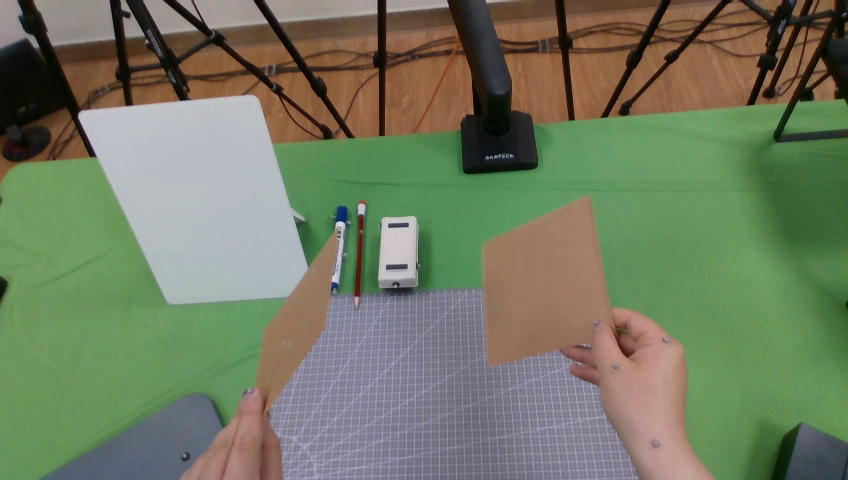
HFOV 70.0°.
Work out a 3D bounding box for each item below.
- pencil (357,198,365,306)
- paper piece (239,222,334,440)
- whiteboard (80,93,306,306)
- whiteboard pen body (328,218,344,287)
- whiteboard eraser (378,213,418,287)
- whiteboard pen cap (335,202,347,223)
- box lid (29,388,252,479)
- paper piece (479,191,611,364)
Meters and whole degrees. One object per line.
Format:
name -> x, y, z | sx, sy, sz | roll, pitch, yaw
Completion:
pencil -> -0.095, 0.014, 0.898 | 0.012, 0.012, 0.192 | -6, 55, 3
paper piece -> -0.108, 0.066, 0.481 | 0.004, 0.136, 0.134 | 27, 28, -21
whiteboard -> -0.277, -0.075, 0.839 | 0.217, 0.308, 0.142 | -3, 36, 5
whiteboard pen body -> -0.130, 0.007, 0.903 | 0.017, 0.017, 0.139 | -2, 55, 6
whiteboard eraser -> -0.037, 0.015, 0.873 | 0.055, 0.042, 0.111 | -4, 56, 5
whiteboard pen cap -> -0.128, -0.041, 0.935 | 0.018, 0.018, 0.033 | -4, 54, 4
box lid -> -0.303, 0.368, 0.681 | 0.263, 0.015, 0.367 | -30, 58, -13
paper piece -> 0.104, 0.037, 0.564 | 0.136, 0.009, 0.137 | -28, 55, 42
